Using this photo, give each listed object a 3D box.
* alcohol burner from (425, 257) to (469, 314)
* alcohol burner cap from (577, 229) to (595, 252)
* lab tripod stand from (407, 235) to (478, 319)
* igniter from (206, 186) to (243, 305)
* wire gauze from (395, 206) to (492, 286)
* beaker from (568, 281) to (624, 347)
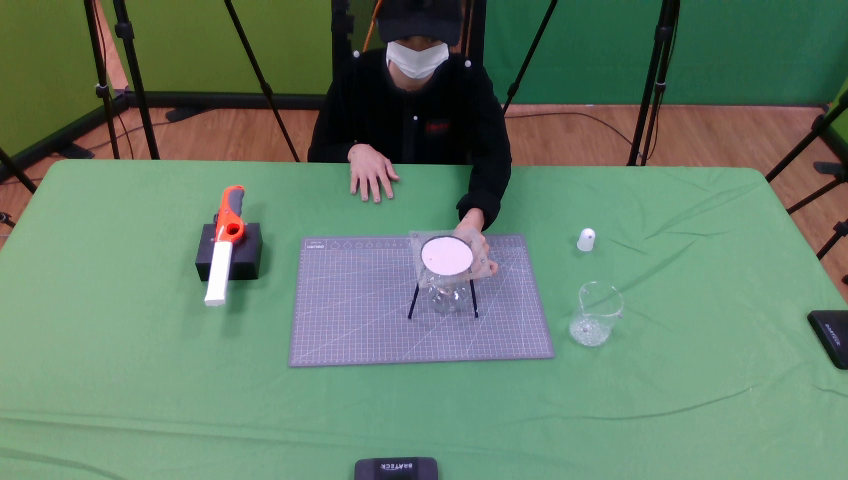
[{"bbox_3d":[0.041,0.074,1.062,0.078,0.120,0.077,1,46,-1],"label":"alcohol burner"},{"bbox_3d":[0.326,-0.002,1.213,0.034,0.048,0.033,1,48,-1],"label":"alcohol burner cap"},{"bbox_3d":[0.032,0.065,1.057,0.148,0.132,0.147,1,45,-1],"label":"lab tripod stand"},{"bbox_3d":[-0.361,0.001,1.100,0.057,0.025,0.274,-2,49,-6],"label":"igniter"},{"bbox_3d":[0.031,0.010,0.993,0.125,0.011,0.120,-24,57,-17],"label":"wire gauze"},{"bbox_3d":[0.290,0.132,1.041,0.084,0.101,0.073,-34,57,-31],"label":"beaker"}]
